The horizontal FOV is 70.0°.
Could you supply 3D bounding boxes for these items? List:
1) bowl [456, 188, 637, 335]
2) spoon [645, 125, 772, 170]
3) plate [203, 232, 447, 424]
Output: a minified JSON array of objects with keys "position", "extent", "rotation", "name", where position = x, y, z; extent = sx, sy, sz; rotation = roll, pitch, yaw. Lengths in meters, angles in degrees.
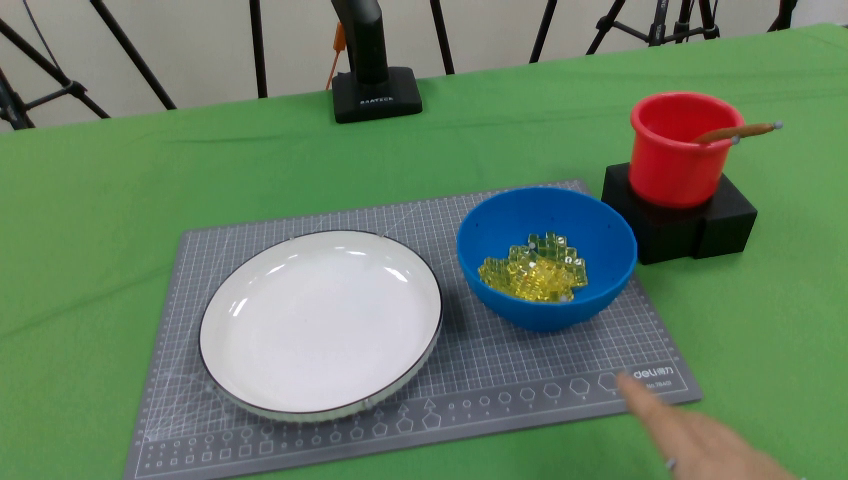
[{"position":[0.104,0.030,0.533],"extent":[0.151,0.077,0.150],"rotation":[-3,42,3],"name":"bowl"},{"position":[0.240,-0.081,0.523],"extent":[0.041,0.021,0.194],"rotation":[-2,-2,0],"name":"spoon"},{"position":[-0.083,0.074,0.533],"extent":[0.207,0.039,0.205],"rotation":[-3,42,3],"name":"plate"}]
